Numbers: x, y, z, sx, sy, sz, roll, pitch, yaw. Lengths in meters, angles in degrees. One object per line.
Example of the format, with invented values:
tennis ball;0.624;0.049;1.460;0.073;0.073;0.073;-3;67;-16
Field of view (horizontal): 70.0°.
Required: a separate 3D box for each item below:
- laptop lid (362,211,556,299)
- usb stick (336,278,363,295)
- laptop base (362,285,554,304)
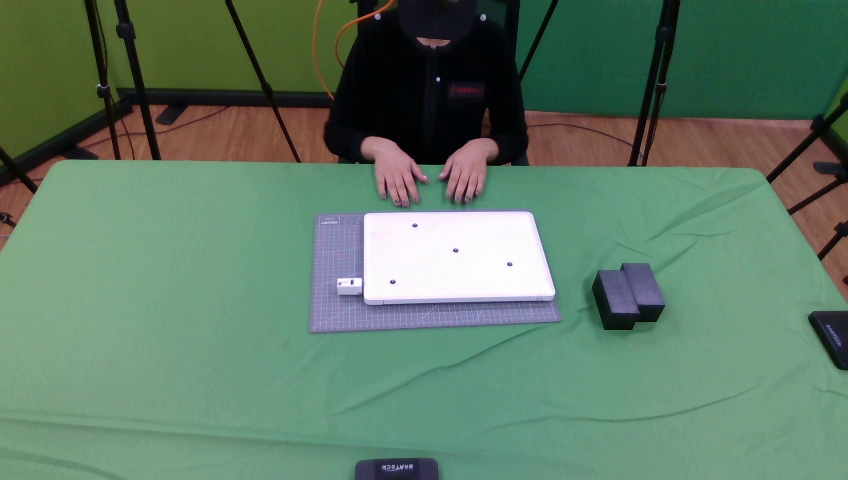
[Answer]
laptop lid;0.059;0.022;1.167;0.357;0.013;0.240;0;44;-4
usb stick;-0.128;0.083;1.094;0.059;0.027;0.021;2;44;-5
laptop base;0.059;0.032;1.174;0.355;0.023;0.234;-1;43;-5
